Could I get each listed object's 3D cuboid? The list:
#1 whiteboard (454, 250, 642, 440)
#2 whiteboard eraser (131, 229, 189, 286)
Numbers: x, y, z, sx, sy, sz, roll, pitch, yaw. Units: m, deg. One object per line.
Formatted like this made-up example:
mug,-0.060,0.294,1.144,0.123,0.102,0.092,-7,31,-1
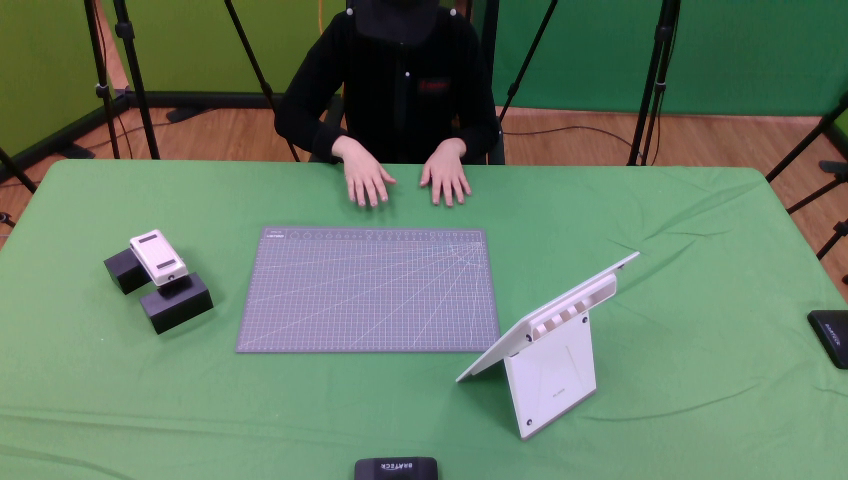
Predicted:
whiteboard,0.206,0.175,0.889,0.217,0.306,0.143,-24,72,-25
whiteboard eraser,-0.458,0.032,1.050,0.055,0.042,0.112,-29,57,-30
